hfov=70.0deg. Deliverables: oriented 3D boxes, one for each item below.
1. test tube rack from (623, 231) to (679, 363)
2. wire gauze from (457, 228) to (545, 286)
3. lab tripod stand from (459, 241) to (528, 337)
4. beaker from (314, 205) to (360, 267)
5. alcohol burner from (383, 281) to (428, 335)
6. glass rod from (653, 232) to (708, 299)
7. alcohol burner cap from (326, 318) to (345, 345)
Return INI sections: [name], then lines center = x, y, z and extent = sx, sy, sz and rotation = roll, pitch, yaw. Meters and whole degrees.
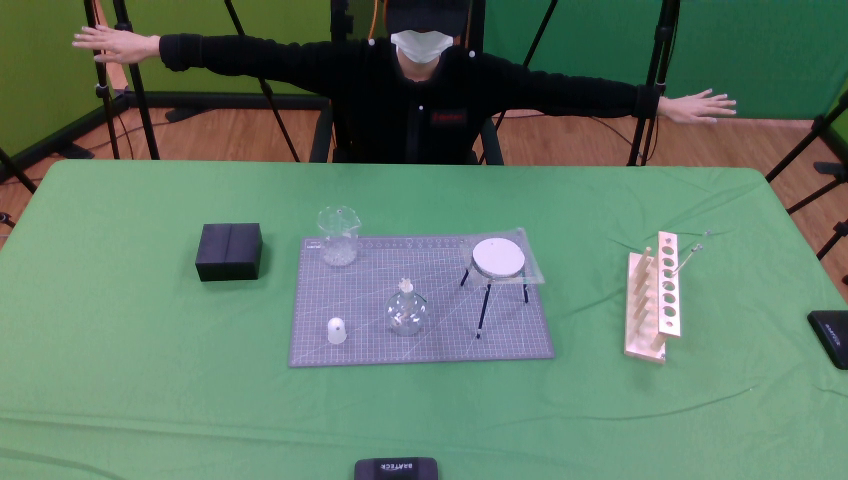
[test tube rack]
center = 0.410, 0.094, 1.096
extent = 0.066, 0.085, 0.241
rotation = 13, 46, 9
[wire gauze]
center = 0.126, 0.028, 1.006
extent = 0.125, 0.011, 0.120
rotation = -4, 46, -10
[lab tripod stand]
center = 0.122, 0.075, 1.054
extent = 0.148, 0.132, 0.147
rotation = 3, 44, -3
[beaker]
center = -0.160, -0.004, 1.132
extent = 0.084, 0.101, 0.073
rotation = 9, 46, 3
[alcohol burner]
center = -0.030, 0.108, 1.024
extent = 0.078, 0.119, 0.077
rotation = 2, 48, -2
[glass rod]
center = 0.441, 0.049, 1.050
extent = 0.008, 0.200, 0.008
rotation = 4, 52, -5
[alcohol burner cap]
center = -0.149, 0.151, 1.023
extent = 0.034, 0.048, 0.033
rotation = 3, 46, -3
